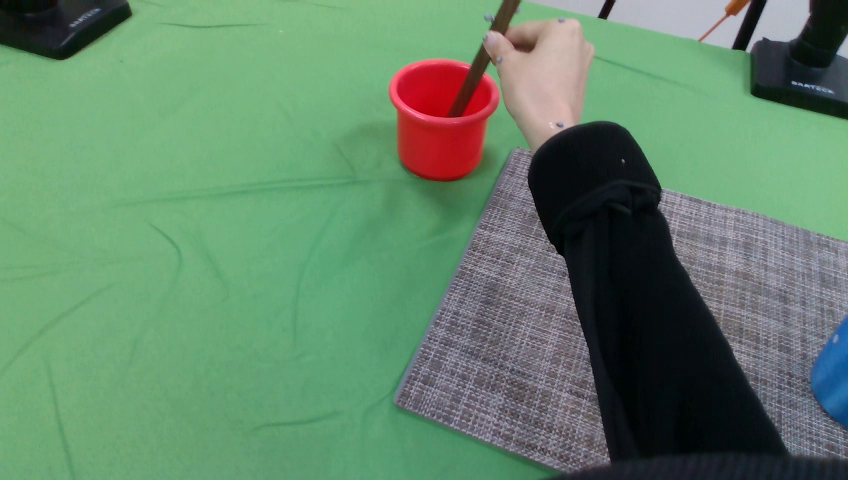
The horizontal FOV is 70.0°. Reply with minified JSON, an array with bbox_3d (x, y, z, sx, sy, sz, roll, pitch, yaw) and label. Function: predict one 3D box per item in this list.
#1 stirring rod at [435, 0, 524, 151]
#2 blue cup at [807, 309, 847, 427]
[{"bbox_3d":[0.046,-0.144,0.514,0.006,0.177,0.014,-24,65,-41],"label":"stirring rod"},{"bbox_3d":[0.306,0.077,0.393,0.093,0.101,0.091,3,48,-3],"label":"blue cup"}]
